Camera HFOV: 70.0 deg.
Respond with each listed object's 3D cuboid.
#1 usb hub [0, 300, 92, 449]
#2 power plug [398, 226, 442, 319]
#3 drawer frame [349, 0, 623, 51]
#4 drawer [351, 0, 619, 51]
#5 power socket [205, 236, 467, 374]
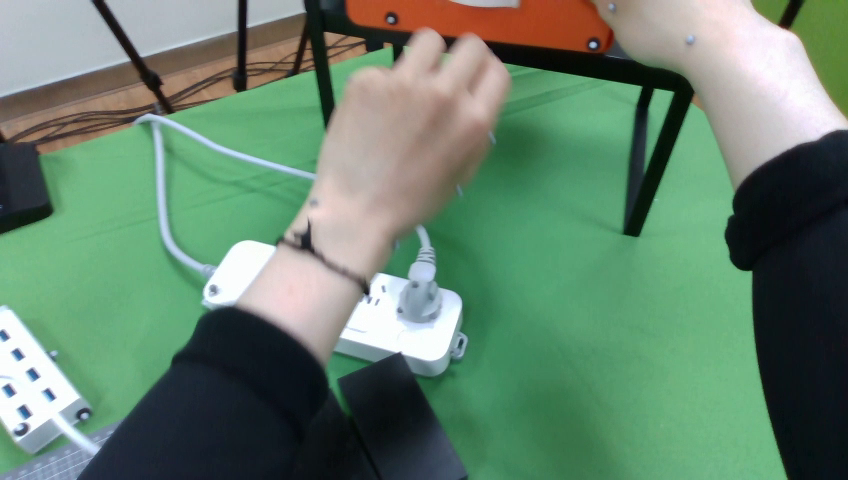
[{"bbox_3d":[-0.313,0.100,0.466,0.124,0.025,0.049,35,58,25],"label":"usb hub"},{"bbox_3d":[0.005,0.033,0.494,0.035,0.053,0.072,22,55,18],"label":"power plug"},{"bbox_3d":[0.060,-0.254,0.497,0.201,0.083,0.212,8,50,6],"label":"drawer frame"},{"bbox_3d":[0.060,-0.250,0.496,0.194,0.074,0.210,9,50,7],"label":"drawer"},{"bbox_3d":[-0.074,0.051,0.507,0.226,0.033,0.071,14,50,11],"label":"power socket"}]
